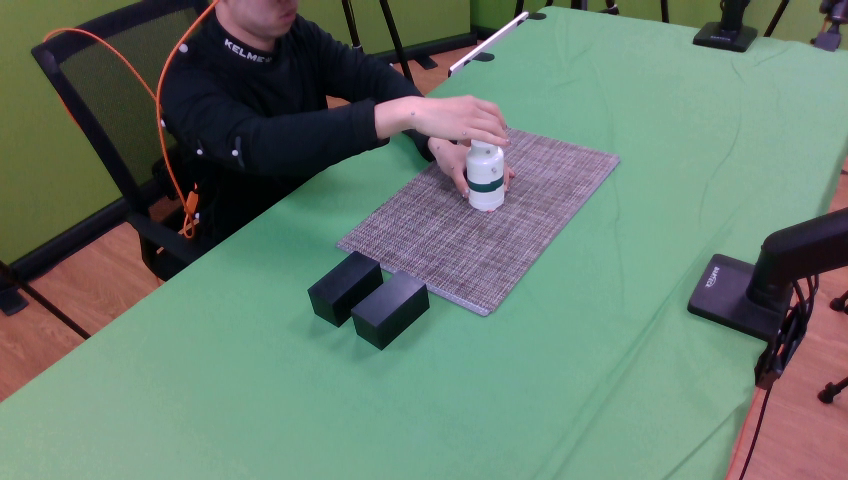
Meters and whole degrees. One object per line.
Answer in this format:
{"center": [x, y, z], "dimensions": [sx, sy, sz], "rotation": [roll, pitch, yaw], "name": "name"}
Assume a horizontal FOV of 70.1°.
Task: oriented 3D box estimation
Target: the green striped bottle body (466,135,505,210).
{"center": [0.102, -0.114, 1.005], "dimensions": [0.063, 0.120, 0.063], "rotation": [-4, 41, 4], "name": "green striped bottle body"}

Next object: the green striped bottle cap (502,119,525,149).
{"center": [0.141, -0.167, 0.952], "dimensions": [0.020, 0.044, 0.044], "rotation": [-21, 42, -8], "name": "green striped bottle cap"}
